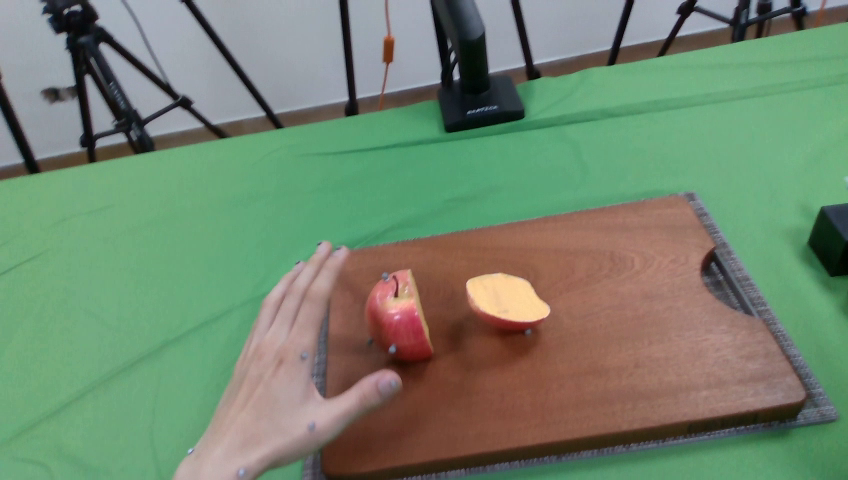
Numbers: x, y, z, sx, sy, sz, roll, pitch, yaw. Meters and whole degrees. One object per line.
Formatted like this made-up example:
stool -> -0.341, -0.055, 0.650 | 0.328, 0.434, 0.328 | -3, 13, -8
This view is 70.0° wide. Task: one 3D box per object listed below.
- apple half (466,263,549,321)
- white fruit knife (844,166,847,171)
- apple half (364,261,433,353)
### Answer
apple half -> 0.073, 0.055, 0.568 | 0.081, 0.033, 0.080 | 10, 30, -5
white fruit knife -> 0.447, -0.009, 0.540 | 0.027, 0.016, 0.205 | 4, 38, -15
apple half -> -0.026, 0.066, 0.556 | 0.053, 0.075, 0.080 | -18, 47, 1
